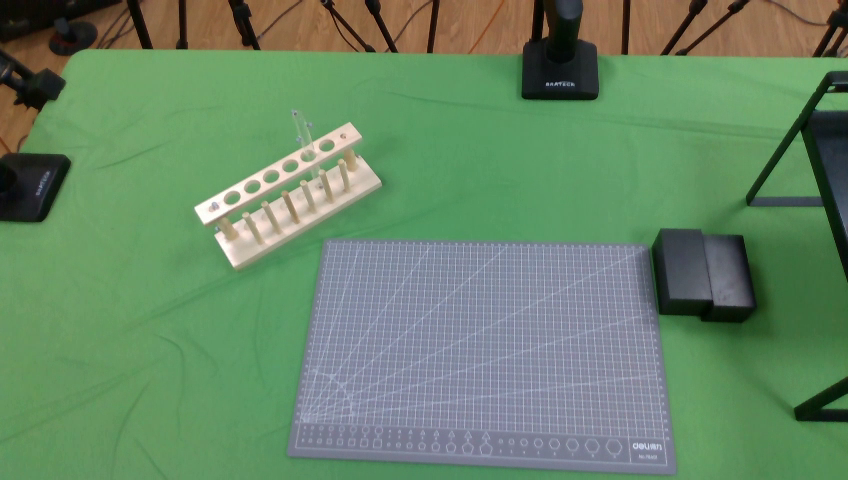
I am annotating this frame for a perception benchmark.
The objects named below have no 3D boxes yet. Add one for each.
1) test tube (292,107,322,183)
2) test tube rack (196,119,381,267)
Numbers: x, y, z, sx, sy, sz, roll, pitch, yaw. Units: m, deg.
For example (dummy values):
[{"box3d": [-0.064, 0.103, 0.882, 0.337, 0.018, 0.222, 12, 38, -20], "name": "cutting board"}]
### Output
[{"box3d": [-0.157, -0.126, 0.829, 0.017, 0.151, 0.017, -1, 60, 2], "name": "test tube"}, {"box3d": [-0.184, -0.067, 0.855, 0.242, 0.086, 0.066, -32, 63, -13], "name": "test tube rack"}]
